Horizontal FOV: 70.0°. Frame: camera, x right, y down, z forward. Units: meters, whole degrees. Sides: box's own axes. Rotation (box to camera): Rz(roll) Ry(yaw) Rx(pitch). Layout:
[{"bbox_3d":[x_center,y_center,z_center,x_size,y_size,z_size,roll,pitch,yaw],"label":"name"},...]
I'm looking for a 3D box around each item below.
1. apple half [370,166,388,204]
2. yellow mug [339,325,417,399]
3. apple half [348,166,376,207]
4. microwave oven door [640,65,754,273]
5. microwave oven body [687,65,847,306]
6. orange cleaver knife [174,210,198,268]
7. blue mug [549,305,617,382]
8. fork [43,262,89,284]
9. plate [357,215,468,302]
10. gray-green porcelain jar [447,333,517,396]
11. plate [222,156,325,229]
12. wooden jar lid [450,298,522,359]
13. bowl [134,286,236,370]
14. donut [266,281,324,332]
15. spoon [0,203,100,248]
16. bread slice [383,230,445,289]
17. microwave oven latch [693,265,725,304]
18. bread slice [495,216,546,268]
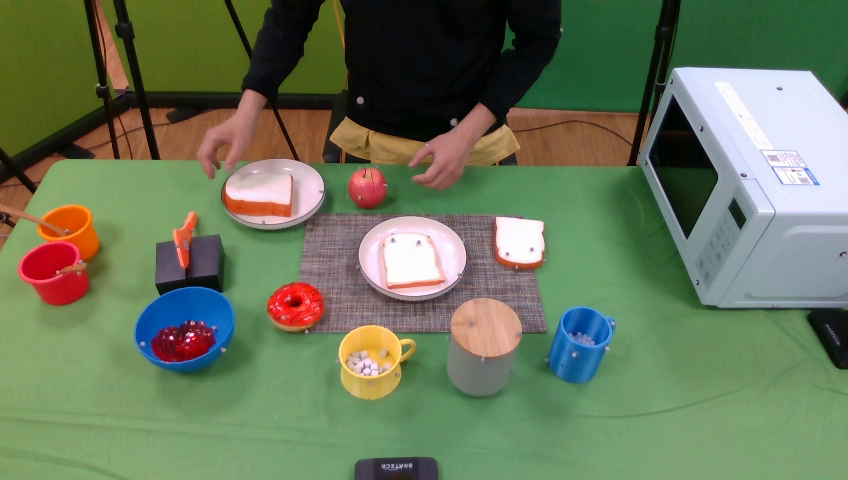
[{"bbox_3d":[-0.091,-0.115,1.260,0.033,0.082,0.080,-9,48,-6],"label":"apple half"},{"bbox_3d":[-0.072,0.190,0.978,0.131,0.064,0.099,-17,50,-20],"label":"yellow mug"},{"bbox_3d":[-0.130,-0.109,1.254,0.053,0.075,0.080,-10,50,-7],"label":"apple half"},{"bbox_3d":[0.523,-0.148,1.193,0.039,0.245,0.353,0,47,-3],"label":"microwave oven door"},{"bbox_3d":[0.669,-0.111,1.176,0.326,0.261,0.439,0,46,-3],"label":"microwave oven body"},{"bbox_3d":[-0.436,-0.006,1.127,0.012,0.077,0.210,-13,19,-8],"label":"orange cleaver knife"},{"bbox_3d":[0.269,0.166,0.998,0.116,0.106,0.082,-19,51,-21],"label":"blue mug"},{"bbox_3d":[-0.599,0.053,1.013,0.207,0.019,0.028,-14,30,45],"label":"fork"},{"bbox_3d":[-0.022,0.037,1.141,0.208,0.039,0.206,2,46,-2],"label":"plate"},{"bbox_3d":[0.091,0.178,0.960,0.106,0.127,0.105,2,46,-2],"label":"gray-green porcelain jar"},{"bbox_3d":[-0.307,-0.095,1.251,0.209,0.038,0.208,2,47,-2],"label":"plate"},{"bbox_3d":[0.093,0.135,0.914,0.108,0.021,0.107,3,48,-3],"label":"wooden jar lid"},{"bbox_3d":[-0.377,0.155,0.981,0.151,0.077,0.150,2,46,-2],"label":"bowl"},{"bbox_3d":[-0.222,0.114,1.049,0.099,0.048,0.098,2,45,-2],"label":"donut"},{"bbox_3d":[-0.683,-0.031,1.088,0.195,0.021,0.041,33,33,-38],"label":"spoon"},{"bbox_3d":[-0.028,0.035,1.145,0.107,0.018,0.133,-7,48,-12],"label":"bread slice"},{"bbox_3d":[0.522,0.081,1.115,0.030,0.029,0.078,2,46,-1],"label":"microwave oven latch"},{"bbox_3d":[0.194,0.002,1.204,0.105,0.019,0.131,6,46,2],"label":"bread slice"}]
